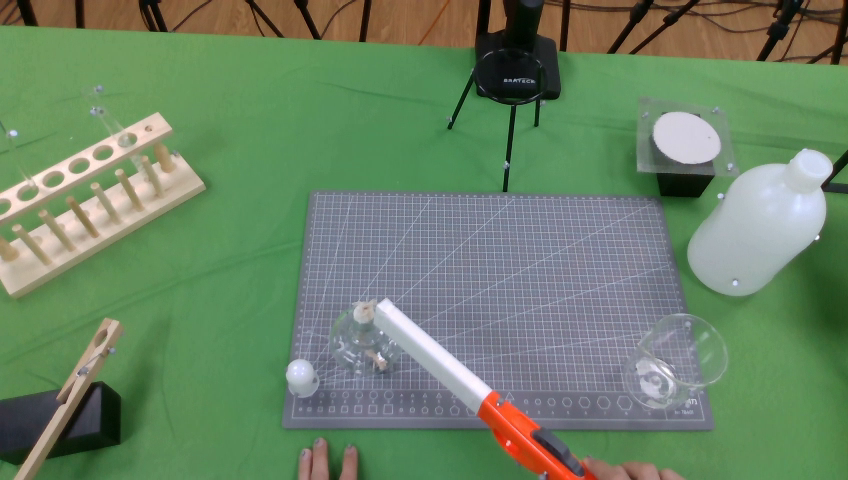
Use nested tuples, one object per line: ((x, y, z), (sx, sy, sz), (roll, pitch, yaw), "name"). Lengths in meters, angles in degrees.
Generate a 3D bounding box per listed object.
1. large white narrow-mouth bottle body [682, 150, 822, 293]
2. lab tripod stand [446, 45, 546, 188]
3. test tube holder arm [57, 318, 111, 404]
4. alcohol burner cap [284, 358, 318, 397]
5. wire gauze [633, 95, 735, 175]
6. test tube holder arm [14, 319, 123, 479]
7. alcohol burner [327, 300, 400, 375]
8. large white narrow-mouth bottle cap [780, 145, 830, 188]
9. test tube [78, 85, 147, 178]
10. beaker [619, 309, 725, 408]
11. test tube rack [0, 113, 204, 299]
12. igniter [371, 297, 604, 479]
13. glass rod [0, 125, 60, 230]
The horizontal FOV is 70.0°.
((0.364, -0.026, 0.660), (0.102, 0.196, 0.101), (1, 59, -1), "large white narrow-mouth bottle body")
((0.098, -0.161, 0.763), (0.148, 0.132, 0.147), (2, 60, -3), "lab tripod stand")
((-0.328, 0.117, 0.590), (0.010, 0.015, 0.087), (10, 60, 11), "test tube holder arm")
((-0.129, 0.140, 0.624), (0.034, 0.048, 0.033), (1, 59, -2), "alcohol burner cap")
((0.327, -0.134, 0.773), (0.121, 0.011, 0.124), (8, 59, 2), "wire gauze")
((-0.334, 0.156, 0.567), (0.013, 0.015, 0.177), (11, 60, 11), "test tube holder arm")
((-0.061, 0.092, 0.614), (0.078, 0.120, 0.077), (2, 58, -3), "alcohol burner")
((0.367, -0.072, 0.586), (0.038, 0.024, 0.037), (1, 59, -2), "large white narrow-mouth bottle cap")
((-0.346, -0.117, 0.686), (0.017, 0.151, 0.017), (-1, 61, 2), "test tube")
((0.244, 0.125, 0.617), (0.084, 0.101, 0.073), (6, 59, 2), "beaker")
((-0.388, -0.042, 0.696), (0.242, 0.086, 0.066), (-36, 67, -21), "test tube rack")
((0.058, 0.144, 0.510), (0.274, 0.057, 0.025), (38, 51, 21), "igniter")
((-0.420, -0.070, 0.635), (0.008, 0.201, 0.008), (4, 51, -4), "glass rod")
